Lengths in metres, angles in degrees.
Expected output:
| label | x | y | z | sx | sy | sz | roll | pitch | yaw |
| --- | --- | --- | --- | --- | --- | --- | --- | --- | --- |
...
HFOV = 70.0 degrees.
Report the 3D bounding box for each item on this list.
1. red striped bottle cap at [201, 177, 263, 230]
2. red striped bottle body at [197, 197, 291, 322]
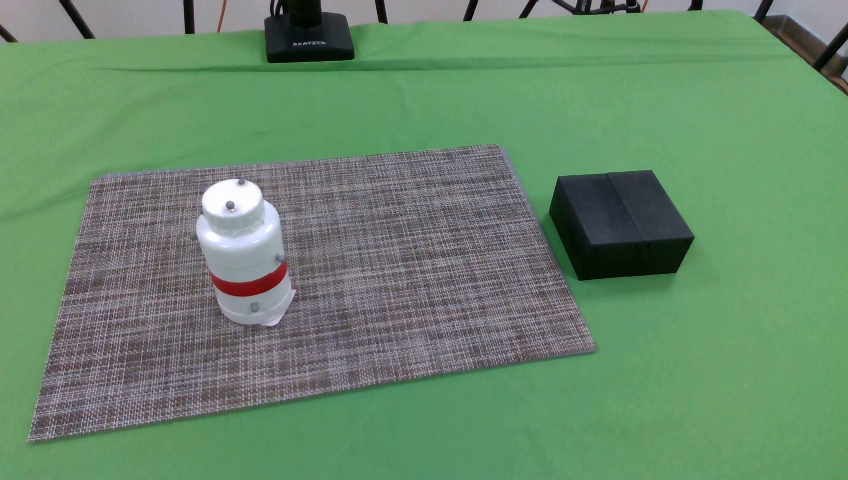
| label | x | y | z | sx | sy | sz | roll | pitch | yaw |
| --- | --- | --- | --- | --- | --- | --- | --- | --- | --- |
| red striped bottle cap | -0.146 | -0.028 | 0.461 | 0.044 | 0.018 | 0.044 | 4 | 45 | -4 |
| red striped bottle body | -0.148 | 0.009 | 0.499 | 0.063 | 0.121 | 0.062 | 2 | 46 | -2 |
